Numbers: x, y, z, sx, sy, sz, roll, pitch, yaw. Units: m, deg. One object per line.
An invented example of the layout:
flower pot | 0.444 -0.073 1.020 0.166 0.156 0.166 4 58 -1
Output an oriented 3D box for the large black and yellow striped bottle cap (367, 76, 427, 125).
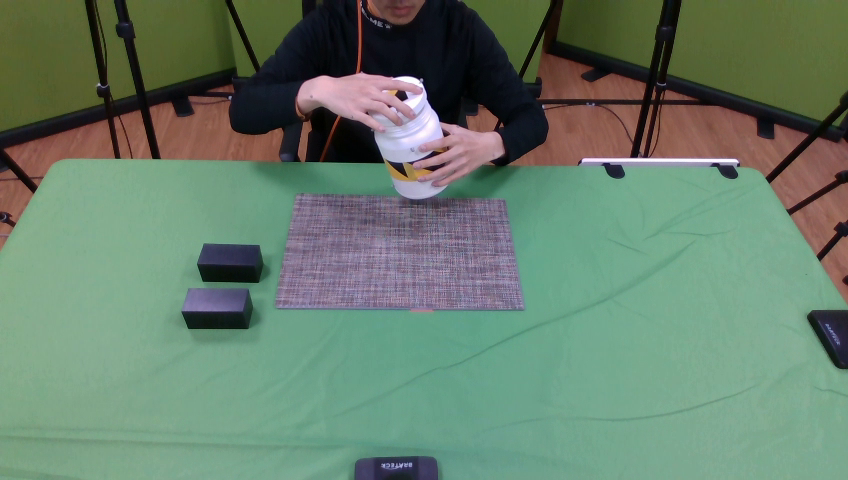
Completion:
large black and yellow striped bottle cap | -0.052 -0.260 1.127 0.115 0.019 0.114 -11 51 14

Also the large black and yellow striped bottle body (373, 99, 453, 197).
large black and yellow striped bottle body | -0.024 -0.190 1.203 0.131 0.185 0.130 -10 47 11
